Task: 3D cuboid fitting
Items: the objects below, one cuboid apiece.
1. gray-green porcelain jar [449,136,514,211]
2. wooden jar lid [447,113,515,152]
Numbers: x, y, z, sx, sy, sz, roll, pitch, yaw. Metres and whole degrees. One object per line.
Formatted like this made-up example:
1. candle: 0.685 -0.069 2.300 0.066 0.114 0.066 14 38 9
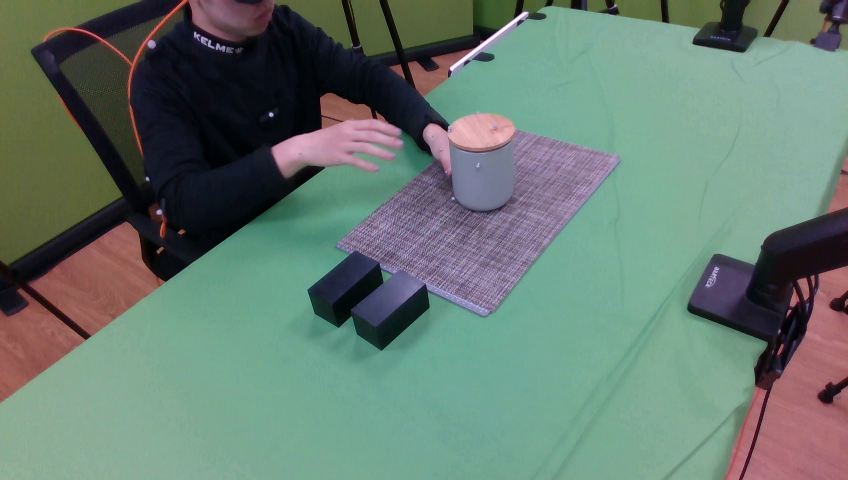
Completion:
1. gray-green porcelain jar: 0.098 -0.120 1.009 0.106 0.127 0.105 -4 41 4
2. wooden jar lid: 0.091 -0.169 0.967 0.108 0.021 0.108 -5 39 4
